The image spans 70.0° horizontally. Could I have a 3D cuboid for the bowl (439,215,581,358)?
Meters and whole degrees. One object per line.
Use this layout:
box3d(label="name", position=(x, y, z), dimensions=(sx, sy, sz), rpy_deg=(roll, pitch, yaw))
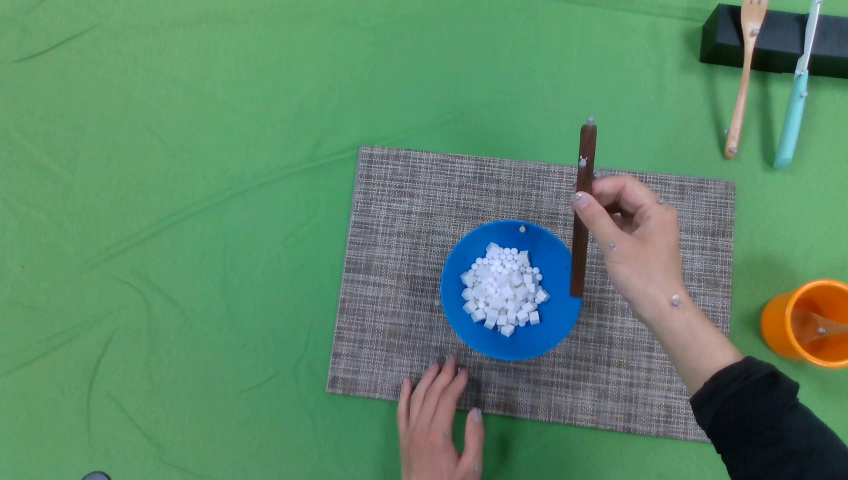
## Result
box3d(label="bowl", position=(0.092, 0.054, 0.671), dimensions=(0.151, 0.077, 0.151), rpy_deg=(0, 81, 3))

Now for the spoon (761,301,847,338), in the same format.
box3d(label="spoon", position=(0.452, 0.088, 0.618), dimensions=(0.022, 0.192, 0.041), rpy_deg=(16, 79, -40))

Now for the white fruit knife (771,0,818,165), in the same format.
box3d(label="white fruit knife", position=(0.428, -0.190, 0.693), dimensions=(0.016, 0.027, 0.207), rpy_deg=(7, 98, 1))

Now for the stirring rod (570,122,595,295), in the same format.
box3d(label="stirring rod", position=(0.142, -0.022, 0.547), dimensions=(0.014, 0.006, 0.177), rpy_deg=(3, 122, 14))

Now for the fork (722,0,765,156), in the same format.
box3d(label="fork", position=(0.367, -0.201, 0.699), dimensions=(0.028, 0.018, 0.208), rpy_deg=(4, 101, 2))
